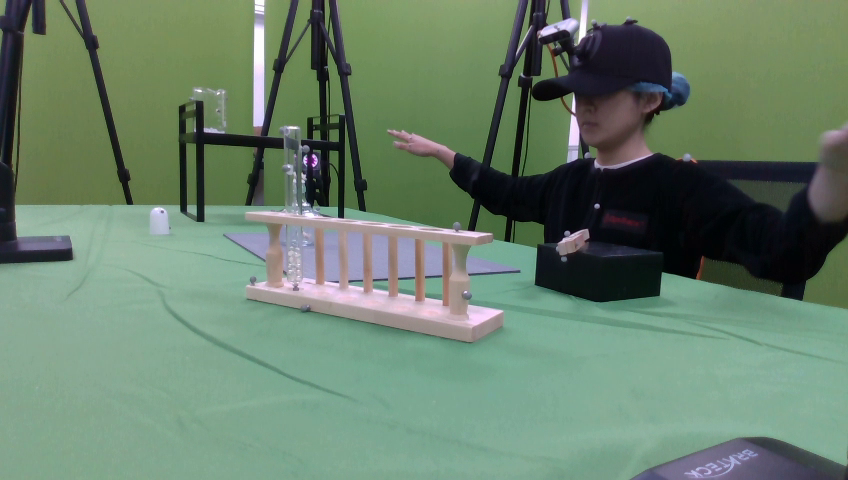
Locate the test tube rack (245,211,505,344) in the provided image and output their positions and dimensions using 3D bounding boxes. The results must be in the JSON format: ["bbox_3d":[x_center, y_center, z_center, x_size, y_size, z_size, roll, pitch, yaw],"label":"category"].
[{"bbox_3d":[-0.049,0.025,0.547,0.241,0.085,0.067,7,8,29],"label":"test tube rack"}]

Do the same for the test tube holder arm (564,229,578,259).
[{"bbox_3d":[0.172,0.002,0.706,0.013,0.015,0.179,7,9,13],"label":"test tube holder arm"}]

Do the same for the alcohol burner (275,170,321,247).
[{"bbox_3d":[-0.199,-0.050,0.948,0.078,0.119,0.078,1,7,0],"label":"alcohol burner"}]

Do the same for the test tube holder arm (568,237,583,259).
[{"bbox_3d":[0.165,0.008,0.661,0.010,0.015,0.088,8,9,18],"label":"test tube holder arm"}]

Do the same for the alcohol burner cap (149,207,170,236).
[{"bbox_3d":[-0.445,-0.032,1.019,0.034,0.048,0.034,4,8,0],"label":"alcohol burner cap"}]

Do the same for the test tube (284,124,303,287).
[{"bbox_3d":[-0.120,-0.030,0.558,0.017,0.150,0.017,2,10,0],"label":"test tube"}]

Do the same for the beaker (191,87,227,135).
[{"bbox_3d":[-0.476,-0.284,1.345,0.074,0.100,0.083,-3,10,-37],"label":"beaker"}]
